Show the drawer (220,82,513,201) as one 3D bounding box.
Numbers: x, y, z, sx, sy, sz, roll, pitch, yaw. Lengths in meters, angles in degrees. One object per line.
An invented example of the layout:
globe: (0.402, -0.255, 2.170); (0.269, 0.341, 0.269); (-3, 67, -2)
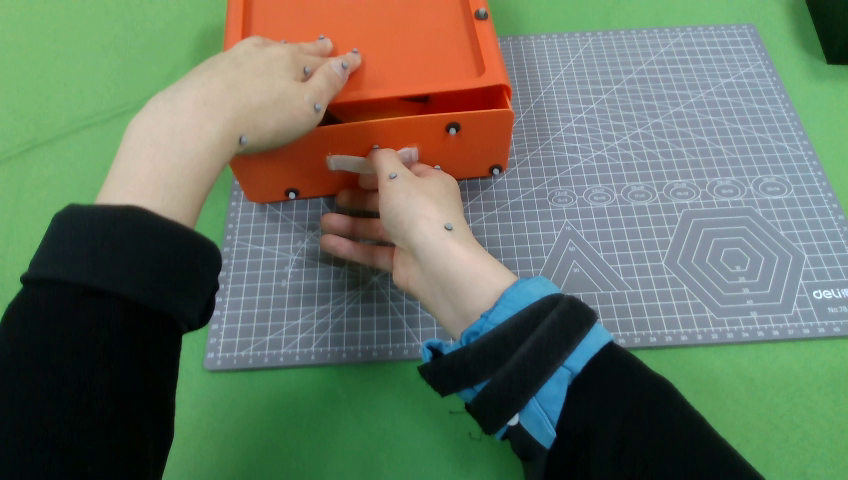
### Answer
drawer: (-0.048, -0.141, 0.472); (0.194, 0.074, 0.209); (-7, 59, -2)

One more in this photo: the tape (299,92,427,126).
tape: (-0.051, -0.142, 0.481); (0.117, 0.053, 0.116); (0, 60, 1)

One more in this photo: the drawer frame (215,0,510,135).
drawer frame: (-0.052, -0.161, 0.484); (0.202, 0.083, 0.211); (-8, 58, -3)
